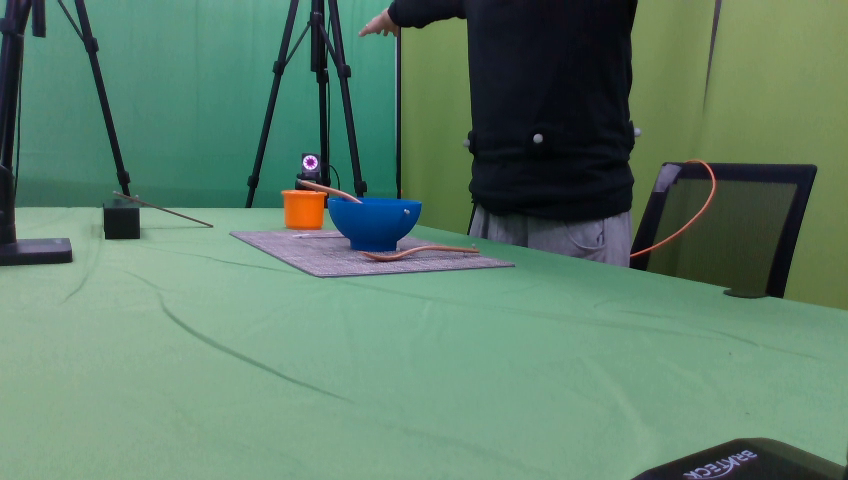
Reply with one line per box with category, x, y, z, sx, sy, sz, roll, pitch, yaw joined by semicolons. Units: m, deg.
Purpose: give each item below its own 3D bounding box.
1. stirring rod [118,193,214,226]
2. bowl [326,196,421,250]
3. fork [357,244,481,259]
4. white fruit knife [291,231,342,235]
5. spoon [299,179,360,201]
stirring rod;-0.484;-0.056;1.142;0.177;0.006;0.014;21;-6;-28
bowl;-0.080;-0.027;0.957;0.151;0.077;0.151;2;7;0
fork;-0.001;0.016;0.877;0.208;0.018;0.028;-5;0;-33
white fruit knife;-0.138;-0.015;1.092;0.208;0.016;0.027;-3;-3;-29
spoon;-0.123;-0.068;0.993;0.193;0.021;0.042;25;9;17
